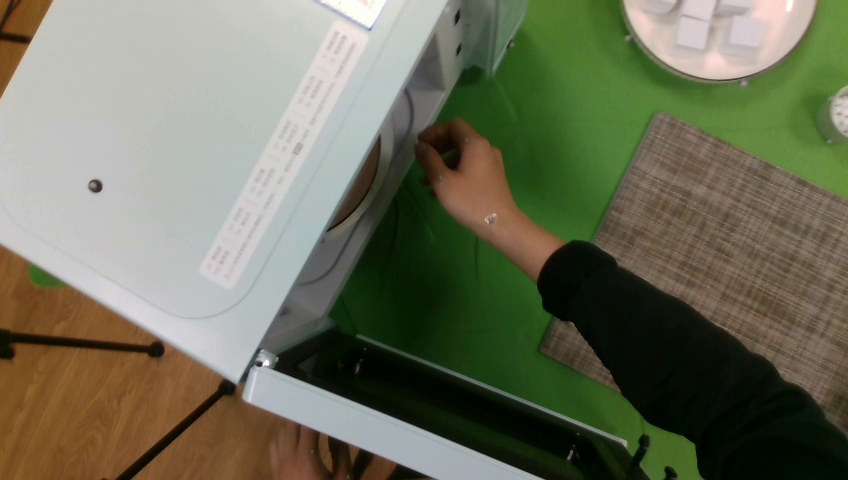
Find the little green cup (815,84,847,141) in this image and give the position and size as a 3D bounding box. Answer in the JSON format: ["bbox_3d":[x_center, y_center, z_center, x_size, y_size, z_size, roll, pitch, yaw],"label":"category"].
[{"bbox_3d":[0.456,-0.135,0.650,0.061,0.038,0.061,0,89,4],"label":"little green cup"}]

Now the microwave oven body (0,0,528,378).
[{"bbox_3d":[-0.140,-0.151,0.571,0.326,0.260,0.441,30,92,3],"label":"microwave oven body"}]

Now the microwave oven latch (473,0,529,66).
[{"bbox_3d":[0.083,-0.230,0.654,0.030,0.029,0.079,33,92,3],"label":"microwave oven latch"}]

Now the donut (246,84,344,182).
[{"bbox_3d":[-0.130,-0.107,0.612,0.099,0.048,0.099,0,92,4],"label":"donut"}]

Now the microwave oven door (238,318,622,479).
[{"bbox_3d":[0.037,0.166,0.554,0.355,0.244,0.039,21,90,4],"label":"microwave oven door"}]

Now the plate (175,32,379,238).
[{"bbox_3d":[-0.148,-0.106,0.624,0.209,0.038,0.209,0,89,3],"label":"plate"}]

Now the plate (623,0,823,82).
[{"bbox_3d":[0.319,-0.272,0.659,0.207,0.039,0.207,0,90,3],"label":"plate"}]
